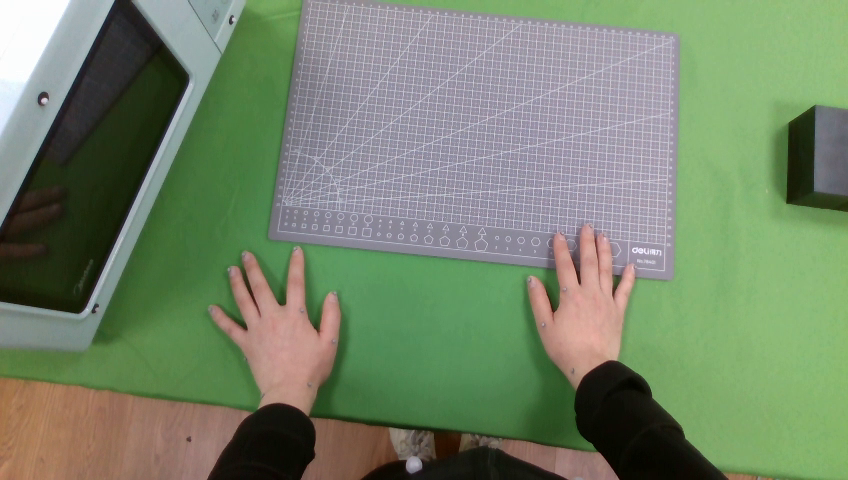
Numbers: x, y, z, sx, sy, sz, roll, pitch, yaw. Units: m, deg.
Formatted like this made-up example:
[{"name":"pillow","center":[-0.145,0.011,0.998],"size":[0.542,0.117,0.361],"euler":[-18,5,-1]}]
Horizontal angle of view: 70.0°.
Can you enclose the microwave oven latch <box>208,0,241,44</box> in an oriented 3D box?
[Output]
[{"name":"microwave oven latch","center":[-0.228,-0.264,0.680],"size":[0.030,0.029,0.079],"euler":[21,81,2]}]

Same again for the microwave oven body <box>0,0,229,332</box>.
[{"name":"microwave oven body","center":[-0.426,-0.168,0.560],"size":[0.326,0.261,0.440],"euler":[20,80,2]}]

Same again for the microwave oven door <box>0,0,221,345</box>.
[{"name":"microwave oven door","center":[-0.302,-0.081,0.543],"size":[0.039,0.244,0.354],"euler":[19,80,3]}]
